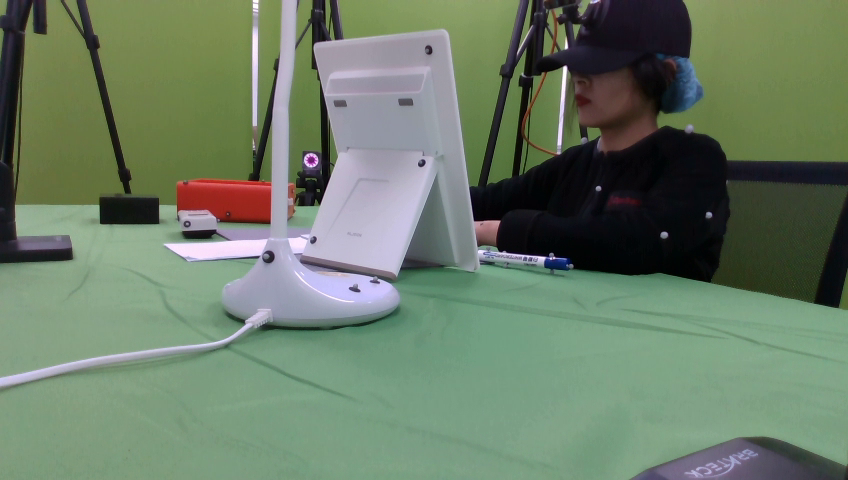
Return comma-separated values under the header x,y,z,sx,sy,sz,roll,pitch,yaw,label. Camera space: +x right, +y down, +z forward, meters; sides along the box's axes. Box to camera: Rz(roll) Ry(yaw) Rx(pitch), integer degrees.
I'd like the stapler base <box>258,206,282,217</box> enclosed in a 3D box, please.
x,y,z,sx,sy,sz,roll,pitch,yaw,label
-0.331,-0.065,1.305,0.041,0.024,0.130,9,-2,-9,stapler base

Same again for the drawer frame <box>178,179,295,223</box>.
x,y,z,sx,sy,sz,roll,pitch,yaw,label
-0.397,-0.088,1.315,0.214,0.082,0.201,1,8,-7,drawer frame

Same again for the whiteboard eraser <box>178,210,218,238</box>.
x,y,z,sx,sy,sz,roll,pitch,yaw,label
-0.380,-0.027,1.014,0.056,0.042,0.112,0,8,-25,whiteboard eraser

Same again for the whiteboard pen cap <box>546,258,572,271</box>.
x,y,z,sx,sy,sz,roll,pitch,yaw,label
0.175,0.032,0.790,0.033,0.018,0.018,3,7,37,whiteboard pen cap

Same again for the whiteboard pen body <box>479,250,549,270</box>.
x,y,z,sx,sy,sz,roll,pitch,yaw,label
0.130,0.028,0.827,0.140,0.017,0.017,7,9,38,whiteboard pen body

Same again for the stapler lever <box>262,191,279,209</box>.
x,y,z,sx,sy,sz,roll,pitch,yaw,label
-0.329,-0.086,1.306,0.027,0.040,0.118,9,3,-9,stapler lever

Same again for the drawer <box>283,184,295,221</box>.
x,y,z,sx,sy,sz,roll,pitch,yaw,label
-0.394,-0.087,1.317,0.212,0.073,0.194,1,8,-7,drawer

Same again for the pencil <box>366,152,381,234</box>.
x,y,z,sx,sy,sz,roll,pitch,yaw,label
-0.098,-0.093,1.162,0.012,0.193,0.012,3,-32,2,pencil

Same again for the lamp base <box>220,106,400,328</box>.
x,y,z,sx,sy,sz,roll,pitch,yaw,label
-0.101,-0.023,0.531,0.160,0.180,0.179,4,10,10,lamp base

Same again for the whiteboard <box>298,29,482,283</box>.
x,y,z,sx,sy,sz,roll,pitch,yaw,label
-0.075,-0.082,0.742,0.216,0.305,0.144,9,29,37,whiteboard
